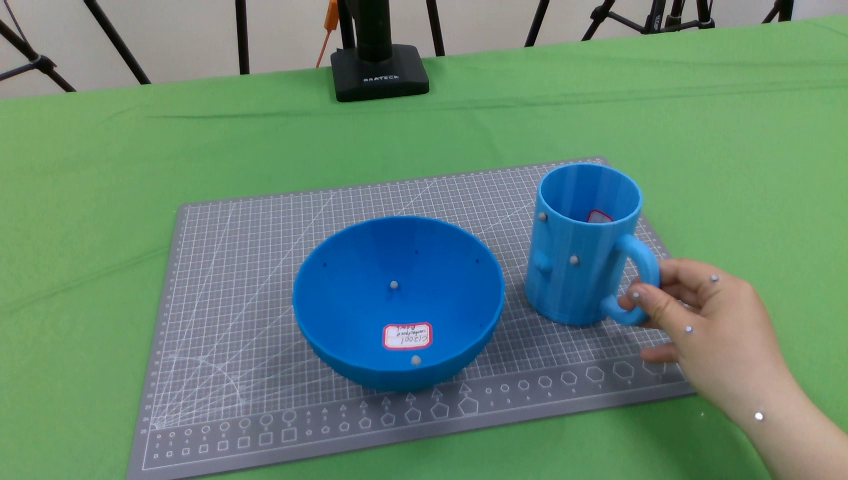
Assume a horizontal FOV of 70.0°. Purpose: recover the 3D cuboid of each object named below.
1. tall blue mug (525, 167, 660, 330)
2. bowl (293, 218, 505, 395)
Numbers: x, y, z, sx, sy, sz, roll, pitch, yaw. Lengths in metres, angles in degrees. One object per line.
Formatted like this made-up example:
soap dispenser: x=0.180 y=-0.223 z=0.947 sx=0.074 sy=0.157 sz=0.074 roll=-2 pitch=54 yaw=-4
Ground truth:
tall blue mug: x=0.137 y=0.013 z=0.477 sx=0.106 sy=0.109 sz=0.077 roll=20 pitch=46 yaw=23
bowl: x=-0.017 y=0.061 z=0.451 sx=0.151 sy=0.077 sz=0.150 roll=0 pitch=42 yaw=1
